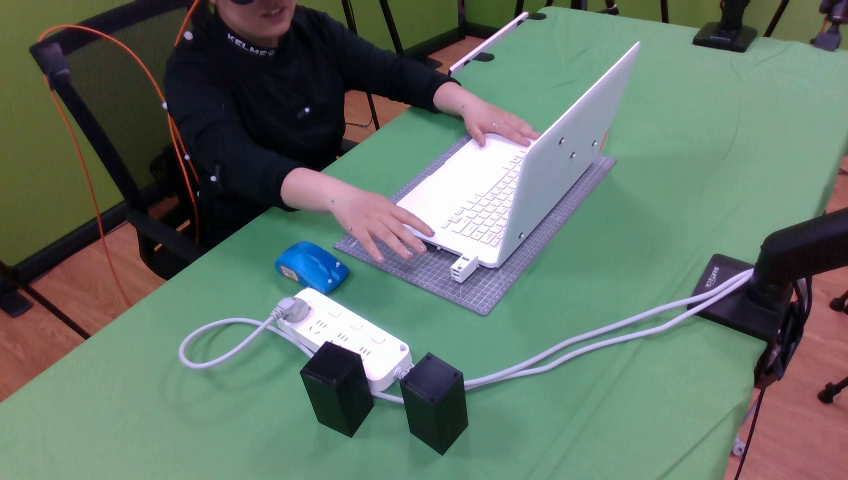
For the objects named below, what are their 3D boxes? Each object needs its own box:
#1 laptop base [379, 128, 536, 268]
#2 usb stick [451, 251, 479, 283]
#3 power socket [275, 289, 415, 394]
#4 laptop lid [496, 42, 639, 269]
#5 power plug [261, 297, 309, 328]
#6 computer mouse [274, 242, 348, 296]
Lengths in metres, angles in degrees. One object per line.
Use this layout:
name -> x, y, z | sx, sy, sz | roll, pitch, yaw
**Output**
laptop base -> 0.118, -0.088, 1.058 | 0.233, 0.023, 0.355 | 19, 47, 33
usb stick -> 0.065, 0.036, 0.900 | 0.021, 0.027, 0.059 | 23, 46, 32
power socket -> -0.114, 0.133, 0.820 | 0.225, 0.033, 0.072 | 25, 49, 32
laptop lid -> 0.220, -0.130, 0.913 | 0.013, 0.242, 0.357 | 31, 51, 21
power plug -> -0.192, 0.107, 0.831 | 0.073, 0.053, 0.035 | -32, 43, -25
computer mouse -> -0.176, 0.041, 0.936 | 0.116, 0.041, 0.063 | 26, 48, 29
